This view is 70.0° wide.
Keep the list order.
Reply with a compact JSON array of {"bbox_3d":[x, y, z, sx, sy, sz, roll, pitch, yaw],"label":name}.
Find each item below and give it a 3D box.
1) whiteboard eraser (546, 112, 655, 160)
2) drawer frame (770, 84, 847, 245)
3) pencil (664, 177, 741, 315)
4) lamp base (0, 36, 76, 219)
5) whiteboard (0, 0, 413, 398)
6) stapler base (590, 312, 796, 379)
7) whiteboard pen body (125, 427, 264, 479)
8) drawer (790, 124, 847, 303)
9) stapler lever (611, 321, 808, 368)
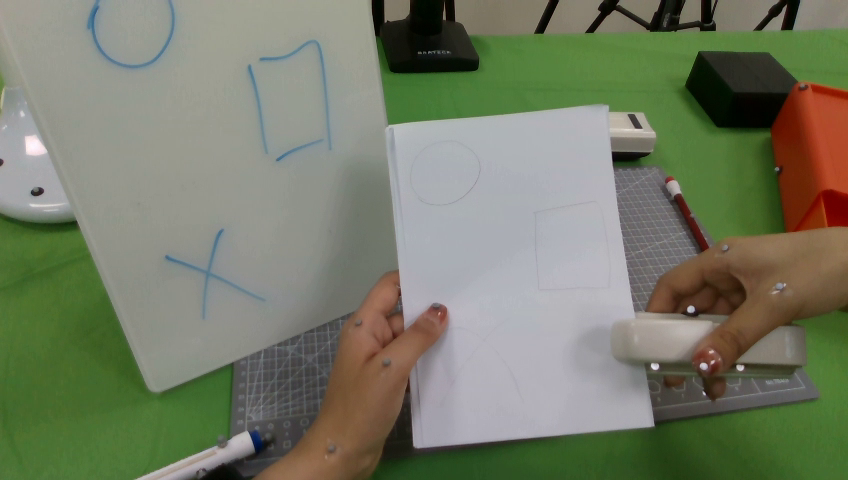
[{"bbox_3d":[0.197,-0.117,0.684,0.113,0.042,0.055,0,46,-6],"label":"whiteboard eraser"},{"bbox_3d":[0.484,-0.061,0.630,0.201,0.083,0.212,14,45,9],"label":"drawer frame"},{"bbox_3d":[0.269,0.005,0.588,0.012,0.012,0.192,0,47,-6],"label":"pencil"},{"bbox_3d":[-0.346,-0.136,0.540,0.178,0.182,0.160,24,47,21],"label":"lamp base"},{"bbox_3d":[-0.152,-0.080,0.458,0.218,0.308,0.142,-21,31,-24],"label":"whiteboard"},{"bbox_3d":[0.174,0.067,0.386,0.130,0.024,0.041,1,83,2],"label":"stapler base"},{"bbox_3d":[-0.171,0.152,0.381,0.141,0.017,0.017,-18,49,-25],"label":"whiteboard pen body"},{"bbox_3d":[0.465,-0.019,0.587,0.194,0.074,0.210,15,45,10],"label":"drawer"},{"bbox_3d":[0.174,0.063,0.366,0.118,0.040,0.027,0,83,7],"label":"stapler lever"}]
